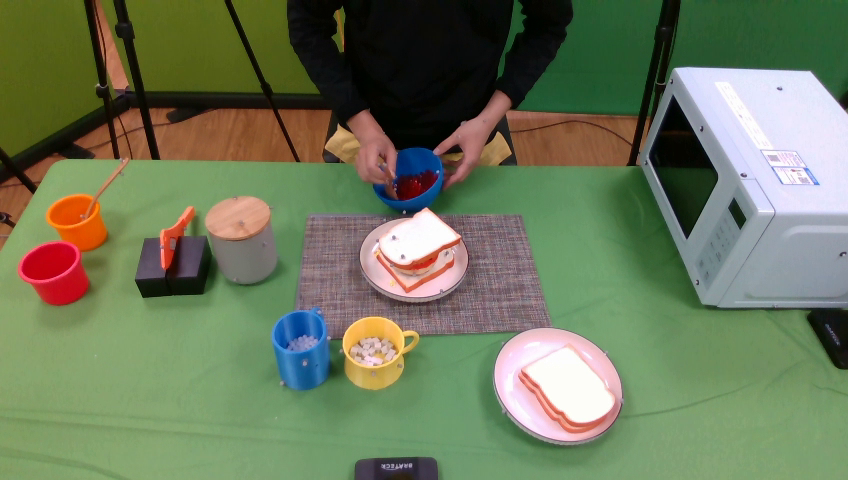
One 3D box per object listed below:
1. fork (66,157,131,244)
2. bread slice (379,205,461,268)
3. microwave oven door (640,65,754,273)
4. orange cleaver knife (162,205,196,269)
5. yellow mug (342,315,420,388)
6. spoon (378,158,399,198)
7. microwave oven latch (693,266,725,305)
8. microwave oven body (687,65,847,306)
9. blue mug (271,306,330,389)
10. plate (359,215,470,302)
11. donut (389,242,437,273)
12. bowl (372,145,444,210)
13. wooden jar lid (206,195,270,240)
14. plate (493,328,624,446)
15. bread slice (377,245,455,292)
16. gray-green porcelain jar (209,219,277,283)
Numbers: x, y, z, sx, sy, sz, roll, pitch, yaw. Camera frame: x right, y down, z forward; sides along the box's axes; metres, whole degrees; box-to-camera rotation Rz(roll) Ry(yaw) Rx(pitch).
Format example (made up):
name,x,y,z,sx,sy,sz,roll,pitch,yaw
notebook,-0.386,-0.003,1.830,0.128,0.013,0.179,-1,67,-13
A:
name,x,y,z,sx,sy,sz,roll,pitch,yaw
fork,-0.608,-0.074,1.132,0.207,0.019,0.028,-52,48,10
bread slice,-0.013,-0.002,1.097,0.134,0.018,0.106,-34,50,-22
microwave oven door,0.523,-0.147,1.193,0.039,0.245,0.353,0,47,-3
orange cleaver knife,-0.454,-0.010,1.129,0.012,0.077,0.210,-2,20,-5
yellow mug,-0.068,0.177,0.990,0.131,0.064,0.099,-16,50,-19
spoon,-0.070,-0.122,1.170,0.021,0.194,0.041,-30,75,-6
microwave oven latch,0.523,0.082,1.115,0.030,0.029,0.078,3,46,-1
microwave oven body,0.669,-0.111,1.176,0.326,0.261,0.439,0,46,-3
blue mug,-0.188,0.163,0.969,0.082,0.106,0.116,15,47,10
plate,-0.019,0.038,1.140,0.209,0.038,0.208,2,46,-2
donut,-0.023,0.018,1.120,0.099,0.048,0.098,-10,48,11
bowl,-0.024,-0.115,1.250,0.151,0.077,0.150,-11,51,14
wooden jar lid,-0.319,-0.036,1.046,0.108,0.021,0.107,1,44,0
plate,0.213,0.236,0.974,0.208,0.039,0.206,2,46,-2
bread slice,-0.009,0.033,1.149,0.131,0.019,0.104,-28,55,-24
gray-green porcelain jar,-0.323,0.007,1.092,0.106,0.127,0.105,2,46,-2
